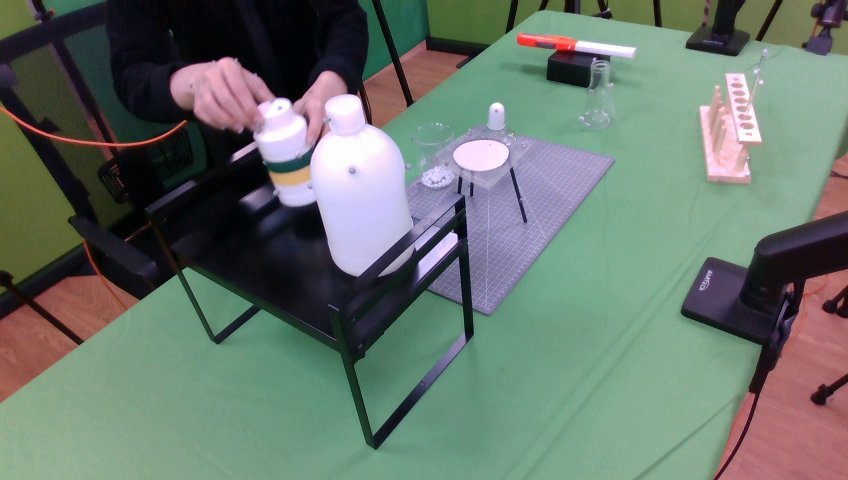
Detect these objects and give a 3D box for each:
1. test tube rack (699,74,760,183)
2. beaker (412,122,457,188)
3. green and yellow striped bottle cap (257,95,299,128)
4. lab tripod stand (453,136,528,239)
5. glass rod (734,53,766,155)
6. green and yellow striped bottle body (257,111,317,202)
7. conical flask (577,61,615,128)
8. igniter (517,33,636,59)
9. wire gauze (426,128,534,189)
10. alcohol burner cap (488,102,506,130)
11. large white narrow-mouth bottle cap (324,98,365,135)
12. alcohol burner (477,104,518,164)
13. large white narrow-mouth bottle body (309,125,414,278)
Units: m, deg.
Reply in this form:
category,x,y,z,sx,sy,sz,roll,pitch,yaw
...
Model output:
category,x,y,z,sx,sy,sz,roll,pitch,yaw
test tube rack,0.547,-0.208,1.095,0.066,0.085,0.242,6,42,16
beaker,0.022,-0.152,1.088,0.073,0.100,0.084,13,44,21
green and yellow striped bottle cap,-0.170,-0.150,0.703,0.045,0.020,0.045,-8,39,7
lab tripod stand,0.095,-0.086,0.974,0.148,0.132,0.147,-4,43,4
glass rod,0.540,-0.220,1.006,0.008,0.201,0.008,-5,45,6
green and yellow striped bottle body,-0.161,-0.110,0.735,0.063,0.120,0.063,-8,38,6
conical flask,0.343,-0.288,1.188,0.075,0.122,0.075,-4,41,4
igniter,0.336,-0.441,1.369,0.275,0.025,0.057,16,41,23
wire gauze,0.086,-0.131,0.924,0.124,0.011,0.122,26,52,33
alcohol burner cap,0.133,-0.227,1.092,0.034,0.048,0.033,-1,47,2
large white narrow-mouth bottle cap,-0.076,-0.120,0.585,0.038,0.024,0.037,-3,42,3
alcohol burner,0.135,-0.200,1.117,0.078,0.119,0.077,-4,43,4
large white narrow-mouth bottle body,-0.068,-0.057,0.644,0.102,0.195,0.101,-4,42,4
